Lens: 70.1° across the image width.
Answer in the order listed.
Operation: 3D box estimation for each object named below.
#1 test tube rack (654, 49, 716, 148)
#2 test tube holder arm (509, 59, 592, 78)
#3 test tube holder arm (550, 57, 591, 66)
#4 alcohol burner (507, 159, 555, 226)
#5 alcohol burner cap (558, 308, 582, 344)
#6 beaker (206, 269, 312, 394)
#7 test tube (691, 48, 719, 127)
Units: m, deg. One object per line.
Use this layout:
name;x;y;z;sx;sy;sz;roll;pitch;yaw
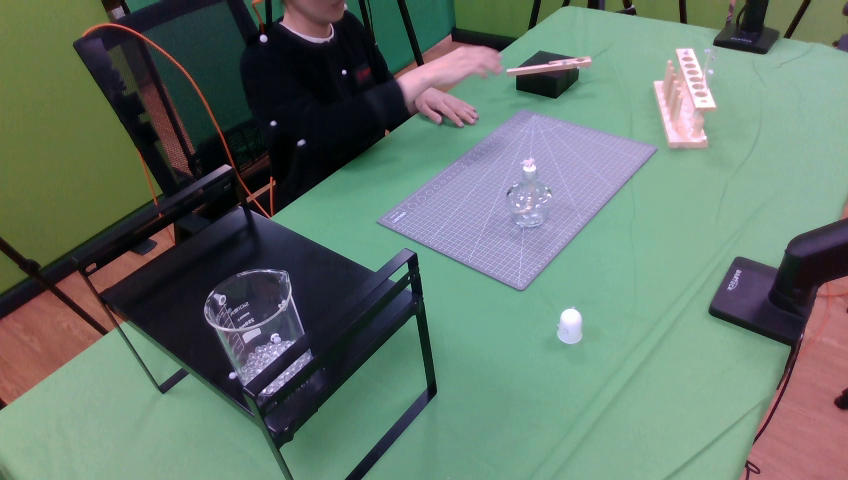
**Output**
test tube rack;0.502;-0.281;1.176;0.066;0.085;0.241;2;41;11
test tube holder arm;0.269;-0.366;1.291;0.178;0.015;0.013;-9;48;0
test tube holder arm;0.313;-0.378;1.294;0.088;0.015;0.010;-8;48;1
alcohol burner;0.172;-0.081;0.969;0.078;0.119;0.077;-4;42;4
alcohol burner cap;0.195;0.111;0.802;0.034;0.048;0.033;-4;39;4
beaker;-0.146;0.086;0.560;0.073;0.101;0.084;19;46;27
test tube;0.505;-0.271;1.089;0.017;0.151;0.017;-2;38;2
